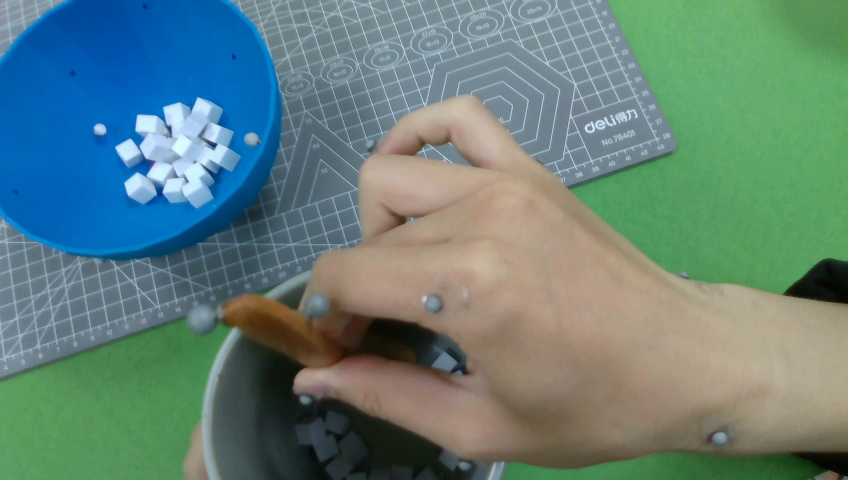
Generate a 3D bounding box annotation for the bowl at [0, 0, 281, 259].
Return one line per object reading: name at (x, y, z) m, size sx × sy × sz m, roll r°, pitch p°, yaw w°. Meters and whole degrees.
bowl at (-0.143, -0.054, 0.327) m, size 0.151 × 0.077 × 0.150 m, roll -1°, pitch 74°, yaw 3°

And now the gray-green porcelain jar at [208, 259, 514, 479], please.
gray-green porcelain jar at (-0.018, 0.074, 0.263) m, size 0.106 × 0.127 × 0.105 m, roll -1°, pitch 74°, yaw 4°
